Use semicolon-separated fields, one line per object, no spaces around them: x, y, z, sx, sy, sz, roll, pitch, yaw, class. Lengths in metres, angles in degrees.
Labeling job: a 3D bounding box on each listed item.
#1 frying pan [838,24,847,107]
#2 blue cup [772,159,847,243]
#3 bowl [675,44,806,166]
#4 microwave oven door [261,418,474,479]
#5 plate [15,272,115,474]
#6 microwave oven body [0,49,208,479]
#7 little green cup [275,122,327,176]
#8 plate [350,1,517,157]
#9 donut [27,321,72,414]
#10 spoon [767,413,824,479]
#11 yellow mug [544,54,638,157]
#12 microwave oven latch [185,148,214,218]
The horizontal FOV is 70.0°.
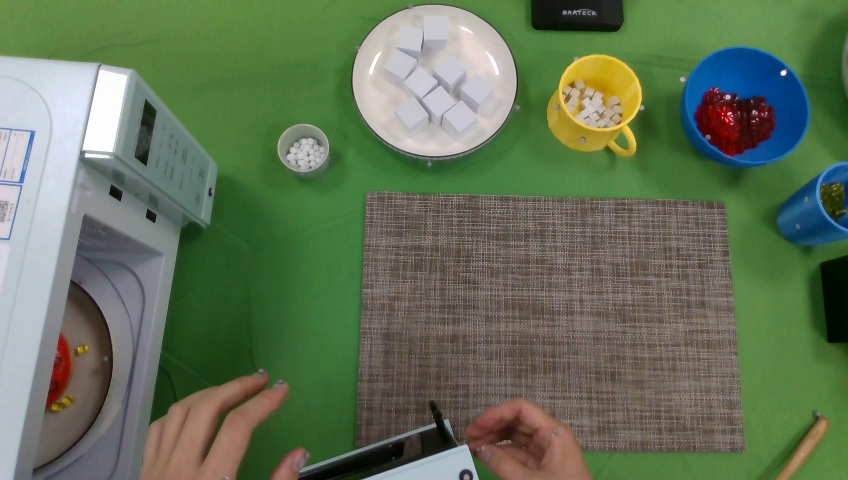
0.656;-0.120;0.738;0.307;0.103;0.484;7;70;1;frying pan
0.468;-0.037;0.715;0.093;0.100;0.092;0;76;-2;blue cup
0.375;-0.154;0.749;0.151;0.077;0.150;0;79;-2;bowl
-0.135;0.241;0.547;0.356;0.244;0.039;-17;78;-5;microwave oven door
-0.419;0.132;0.620;0.209;0.038;0.208;1;78;-2;plate
-0.425;0.073;0.577;0.326;0.261;0.440;5;79;-1;microwave oven body
-0.148;-0.108;0.740;0.061;0.039;0.061;0;79;-2;little green cup
0.012;-0.200;0.767;0.208;0.039;0.206;0;78;-2;plate
-0.405;0.125;0.607;0.099;0.048;0.098;1;81;-3;donut
0.400;0.270;0.690;0.193;0.022;0.041;-43;70;-10;spoon
0.214;-0.158;0.751;0.100;0.064;0.130;-35;82;-9;yellow mug
-0.266;-0.067;0.710;0.030;0.029;0.079;7;79;-1;microwave oven latch
